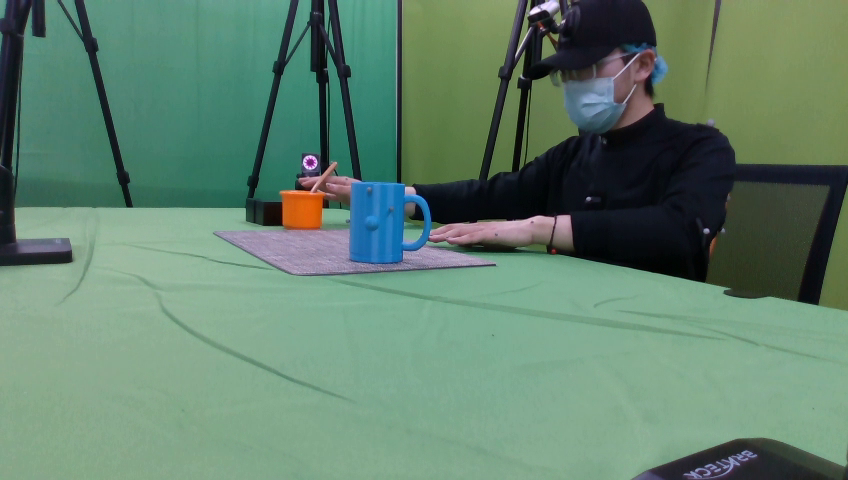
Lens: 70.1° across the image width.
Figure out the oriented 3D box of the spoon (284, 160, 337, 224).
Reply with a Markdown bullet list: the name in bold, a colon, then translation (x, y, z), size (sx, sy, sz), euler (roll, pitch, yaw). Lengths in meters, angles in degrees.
- **spoon**: translation (-0.229, -0.101, 1.251), size (0.041, 0.194, 0.022), euler (6, -37, 32)

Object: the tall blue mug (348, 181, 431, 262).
- **tall blue mug**: translation (-0.052, -0.028, 0.849), size (0.108, 0.108, 0.077), euler (-1, 7, -22)
